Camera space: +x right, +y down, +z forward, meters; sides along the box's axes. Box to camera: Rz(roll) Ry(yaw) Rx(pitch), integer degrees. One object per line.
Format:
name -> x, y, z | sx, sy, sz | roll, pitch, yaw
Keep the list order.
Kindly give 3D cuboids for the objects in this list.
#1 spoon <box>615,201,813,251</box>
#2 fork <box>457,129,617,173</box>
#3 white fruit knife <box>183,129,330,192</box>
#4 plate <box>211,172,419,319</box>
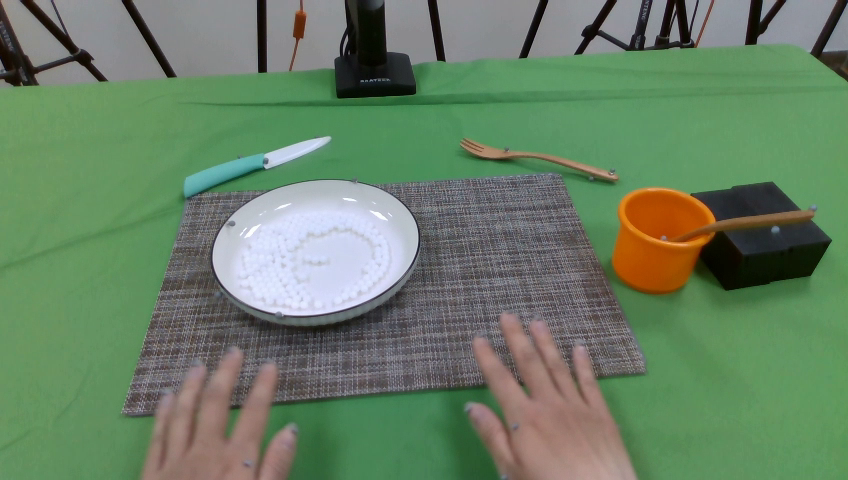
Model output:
spoon -> 0.261, -0.014, 0.569 | 0.041, 0.193, 0.021 | -30, 95, -32
fork -> 0.141, -0.112, 0.770 | 0.206, 0.019, 0.028 | 14, 39, 17
white fruit knife -> -0.208, -0.107, 0.766 | 0.207, 0.016, 0.027 | -26, 72, -31
plate -> -0.108, 0.005, 0.622 | 0.209, 0.038, 0.207 | 0, 42, 0
